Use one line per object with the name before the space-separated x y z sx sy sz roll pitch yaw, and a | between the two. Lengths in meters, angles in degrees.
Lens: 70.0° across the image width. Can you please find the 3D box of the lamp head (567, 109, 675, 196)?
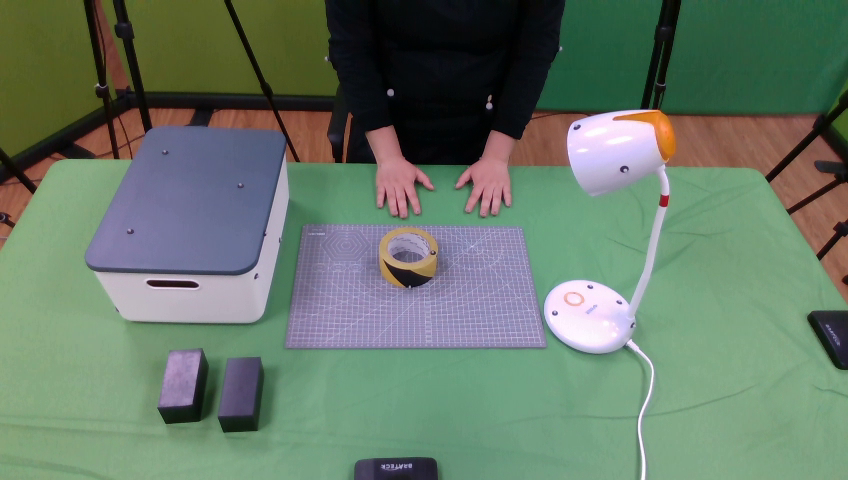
lamp head | 0.272 -0.123 0.818 0.122 0.113 0.112 -9 35 37

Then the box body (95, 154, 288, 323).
box body | -0.396 -0.031 1.100 0.254 0.161 0.361 1 46 -3

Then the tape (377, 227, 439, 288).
tape | -0.031 0.032 1.141 0.117 0.053 0.116 2 46 -2

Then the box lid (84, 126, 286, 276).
box lid | -0.393 -0.081 1.046 0.263 0.015 0.369 2 46 -3

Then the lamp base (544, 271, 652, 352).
lamp base | 0.310 0.086 1.029 0.178 0.181 0.160 32 52 21
